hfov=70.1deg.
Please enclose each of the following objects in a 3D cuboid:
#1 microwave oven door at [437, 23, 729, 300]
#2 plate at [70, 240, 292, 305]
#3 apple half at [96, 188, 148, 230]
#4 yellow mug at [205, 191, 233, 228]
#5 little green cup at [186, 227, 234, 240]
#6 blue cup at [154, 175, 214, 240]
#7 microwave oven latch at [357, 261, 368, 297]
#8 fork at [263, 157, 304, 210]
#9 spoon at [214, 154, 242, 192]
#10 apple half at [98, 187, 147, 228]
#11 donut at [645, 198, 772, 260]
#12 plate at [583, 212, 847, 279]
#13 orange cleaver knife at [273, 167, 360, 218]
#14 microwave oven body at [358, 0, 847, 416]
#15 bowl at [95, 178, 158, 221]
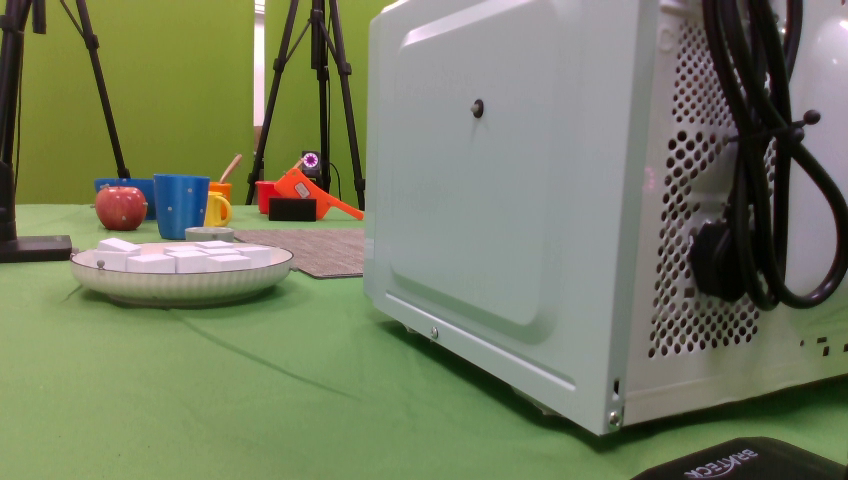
[{"bbox_3d":[0.181,-0.072,0.621,0.358,0.243,0.039,-2,8,-29],"label":"microwave oven door"},{"bbox_3d":[-0.242,0.031,0.618,0.208,0.039,0.207,2,8,0],"label":"plate"},{"bbox_3d":[-0.517,-0.052,1.036,0.081,0.074,0.053,2,10,-26],"label":"apple half"},{"bbox_3d":[-0.415,-0.057,1.132,0.130,0.064,0.100,6,8,16],"label":"yellow mug"},{"bbox_3d":[-0.284,0.005,0.805,0.061,0.038,0.061,2,8,0],"label":"little green cup"},{"bbox_3d":[-0.390,-0.053,0.978,0.093,0.100,0.092,3,6,0],"label":"blue cup"},{"bbox_3d":[-0.019,0.033,0.530,0.079,0.029,0.030,-1,7,-26],"label":"microwave oven latch"},{"bbox_3d":[-0.345,-0.143,1.505,0.028,0.019,0.207,-4,46,28],"label":"fork"},{"bbox_3d":[-0.439,-0.124,1.317,0.041,0.193,0.022,5,-37,16],"label":"spoon"},{"bbox_3d":[-0.534,-0.059,1.071,0.082,0.081,0.032,-1,11,-25],"label":"apple half"},{"bbox_3d":[0.239,-0.008,0.513,0.099,0.048,0.099,10,1,0],"label":"donut"},{"bbox_3d":[0.239,0.002,0.510,0.209,0.038,0.209,2,7,0],"label":"plate"},{"bbox_3d":[-0.238,-0.091,1.381,0.212,0.077,0.012,31,0,-19],"label":"orange cleaver knife"},{"bbox_3d":[0.211,-0.047,0.474,0.444,0.260,0.324,-1,7,-28],"label":"microwave oven body"},{"bbox_3d":[-0.576,-0.081,1.217,0.151,0.077,0.151,3,8,0],"label":"bowl"}]
